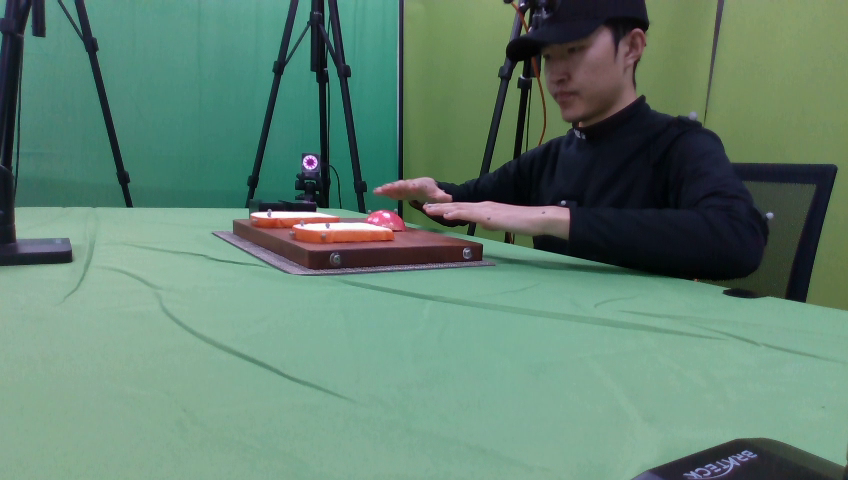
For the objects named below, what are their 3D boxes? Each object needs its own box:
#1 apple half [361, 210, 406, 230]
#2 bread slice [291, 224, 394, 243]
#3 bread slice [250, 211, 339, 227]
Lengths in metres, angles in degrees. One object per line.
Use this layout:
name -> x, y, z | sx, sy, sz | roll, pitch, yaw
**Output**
apple half -> -0.065, -0.034, 1.010 | 0.081, 0.033, 0.081 | 2, 4, 0
bread slice -> -0.122, -0.011, 0.869 | 0.132, 0.019, 0.104 | -1, 7, -32
bread slice -> -0.223, -0.035, 1.021 | 0.135, 0.018, 0.106 | -3, 9, -33
